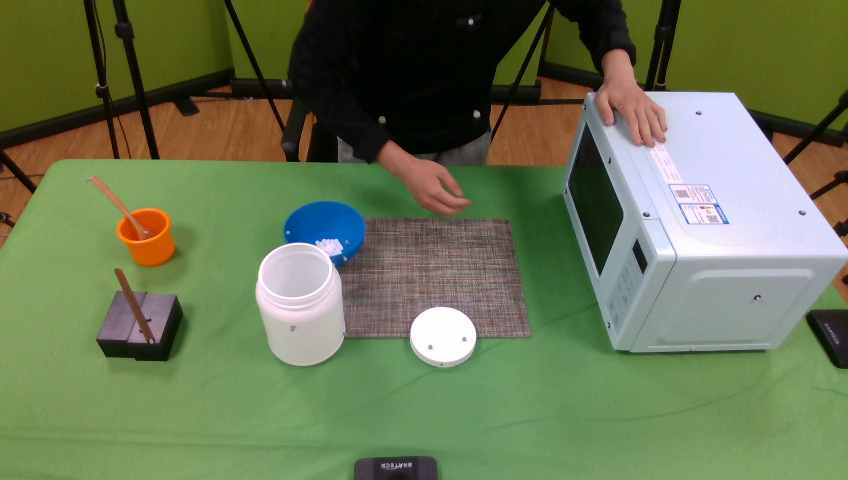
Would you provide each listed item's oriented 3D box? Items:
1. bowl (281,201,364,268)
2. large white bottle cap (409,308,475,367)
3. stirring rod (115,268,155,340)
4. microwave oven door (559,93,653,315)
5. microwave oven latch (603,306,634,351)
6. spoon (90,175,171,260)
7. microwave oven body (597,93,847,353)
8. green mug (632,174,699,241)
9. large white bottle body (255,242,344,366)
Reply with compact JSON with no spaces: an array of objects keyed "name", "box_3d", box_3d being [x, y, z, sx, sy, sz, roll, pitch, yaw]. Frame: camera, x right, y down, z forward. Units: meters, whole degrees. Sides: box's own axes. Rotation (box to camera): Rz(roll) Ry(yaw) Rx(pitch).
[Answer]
[{"name":"bowl","box_3d":[-0.187,0.005,1.138,0.151,0.077,0.150,3,46,-3]},{"name":"large white bottle cap","box_3d":[0.031,0.165,1.041,0.115,0.018,0.114,2,46,-2]},{"name":"stirring rod","box_3d":[-0.479,0.103,0.999,0.014,0.006,0.175,8,32,-50]},{"name":"microwave oven door","box_3d":[0.327,-0.074,1.123,0.039,0.245,0.353,-1,46,-5]},{"name":"microwave oven latch","box_3d":[0.332,0.153,1.044,0.030,0.029,0.078,0,45,-4]},{"name":"spoon","box_3d":[-0.539,-0.042,1.111,0.021,0.194,0.041,-12,28,53]},{"name":"microwave oven body","box_3d":[0.475,-0.042,1.110,0.326,0.261,0.438,-1,45,-4]},{"name":"green mug","box_3d":[0.456,-0.056,1.153,0.125,0.105,0.092,-16,45,-10]},{"name":"large white bottle body","box_3d":[-0.196,0.102,0.967,0.131,0.185,0.130,2,49,-2]}]
